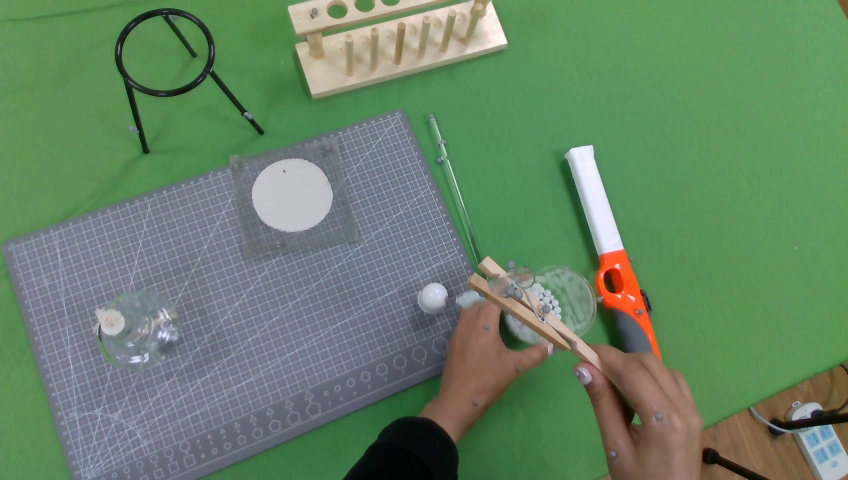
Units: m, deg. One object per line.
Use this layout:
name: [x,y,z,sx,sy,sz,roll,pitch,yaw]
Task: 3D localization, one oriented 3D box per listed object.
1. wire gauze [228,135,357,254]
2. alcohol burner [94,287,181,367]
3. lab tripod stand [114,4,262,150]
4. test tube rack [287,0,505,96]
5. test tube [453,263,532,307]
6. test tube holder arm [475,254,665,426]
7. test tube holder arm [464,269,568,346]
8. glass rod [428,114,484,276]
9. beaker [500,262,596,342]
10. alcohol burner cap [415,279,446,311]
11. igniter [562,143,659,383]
wire gauze: [-0.146,-0.051,0.668,0.125,0.011,0.121,-10,80,-9]
alcohol burner: [-0.276,0.080,0.571,0.078,0.119,0.077,1,77,-3]
lab tripod stand: [-0.247,-0.160,0.619,0.148,0.132,0.147,1,79,-6]
test tube rack: [-0.023,-0.241,0.686,0.243,0.085,0.066,-17,80,-9]
test tube: [0.048,0.037,0.458,0.017,0.150,0.017,2,78,-12]
test tube holder arm: [0.106,0.073,0.440,0.178,0.015,0.013,41,76,-1]
test tube holder arm: [0.068,0.050,0.437,0.088,0.015,0.010,34,75,-3]
glass rod: [0.036,-0.052,0.690,0.008,0.008,0.199,-16,82,-10]
beaker: [0.120,0.068,0.626,0.084,0.100,0.073,7,77,-4]
alcohol burner cap: [0.009,0.056,0.644,0.034,0.048,0.033,1,77,-6]
igniter: [0.210,0.021,0.683,0.057,0.025,0.275,-11,79,-19]
